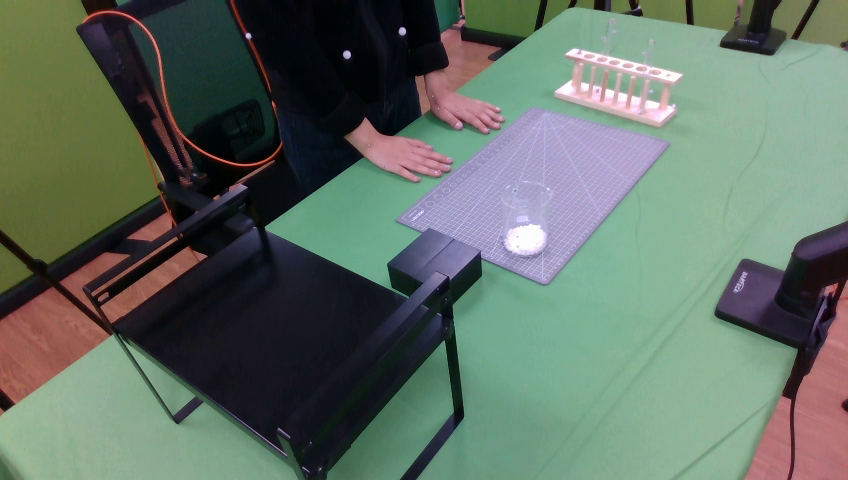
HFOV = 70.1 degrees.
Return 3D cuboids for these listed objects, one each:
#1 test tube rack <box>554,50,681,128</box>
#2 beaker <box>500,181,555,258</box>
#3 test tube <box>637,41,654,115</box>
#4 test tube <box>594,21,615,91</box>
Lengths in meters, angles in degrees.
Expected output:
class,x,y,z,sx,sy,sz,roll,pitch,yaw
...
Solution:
class,x,y,z,sx,sy,sz,roll,pitch,yaw
test tube rack,0.387,-0.311,1.234,0.240,0.085,0.067,28,51,34
beaker,0.158,-0.030,0.923,0.084,0.100,0.073,-13,41,-8
test tube,0.423,-0.307,1.154,0.017,0.151,0.017,-5,41,5
test tube,0.366,-0.372,1.233,0.017,0.151,0.017,0,43,0
